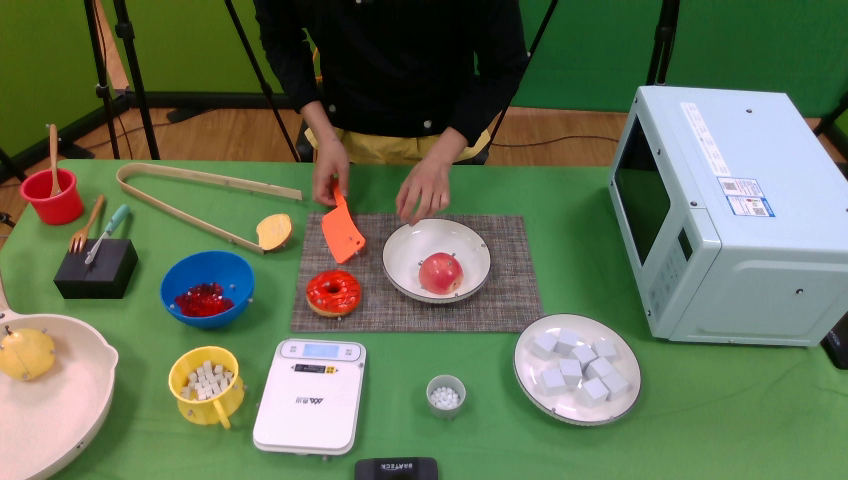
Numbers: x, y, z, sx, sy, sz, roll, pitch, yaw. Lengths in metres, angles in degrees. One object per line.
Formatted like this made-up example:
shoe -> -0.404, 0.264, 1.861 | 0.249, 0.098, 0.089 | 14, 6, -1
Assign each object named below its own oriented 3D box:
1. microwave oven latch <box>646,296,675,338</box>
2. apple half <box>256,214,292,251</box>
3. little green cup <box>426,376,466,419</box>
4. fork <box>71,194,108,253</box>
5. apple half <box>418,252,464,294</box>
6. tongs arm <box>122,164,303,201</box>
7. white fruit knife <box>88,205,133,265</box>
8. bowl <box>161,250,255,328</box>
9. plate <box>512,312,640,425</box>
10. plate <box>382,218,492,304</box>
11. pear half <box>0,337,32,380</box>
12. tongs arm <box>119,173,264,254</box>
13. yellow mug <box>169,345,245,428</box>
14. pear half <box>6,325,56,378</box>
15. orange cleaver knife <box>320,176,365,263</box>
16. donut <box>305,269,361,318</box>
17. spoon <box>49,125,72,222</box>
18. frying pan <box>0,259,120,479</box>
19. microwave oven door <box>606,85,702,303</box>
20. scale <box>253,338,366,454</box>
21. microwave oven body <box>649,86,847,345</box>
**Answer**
microwave oven latch -> 0.412, 0.134, 1.061 | 0.030, 0.029, 0.078 | 4, 45, 1
apple half -> -0.285, -0.011, 1.176 | 0.081, 0.033, 0.081 | -10, 60, 18
little green cup -> 0.033, 0.248, 0.950 | 0.061, 0.039, 0.061 | 2, 46, -2
fork -> -0.634, -0.036, 1.158 | 0.028, 0.019, 0.206 | -8, 32, -8
apple half -> 0.033, 0.055, 1.109 | 0.081, 0.053, 0.074 | -29, 57, -27
tongs arm -> -0.444, -0.114, 1.267 | 0.384, 0.026, 0.050 | 12, 50, 8
white fruit knife -> -0.584, -0.013, 1.129 | 0.016, 0.027, 0.206 | 0, 32, -5
bowl -> -0.362, 0.098, 1.039 | 0.151, 0.077, 0.150 | 2, 45, -2
plate -> 0.246, 0.213, 0.999 | 0.208, 0.039, 0.206 | 2, 46, -2
plate -> 0.024, 0.042, 1.143 | 0.209, 0.038, 0.208 | 2, 46, -2
pear half -> -0.631, 0.184, 0.921 | 0.070, 0.088, 0.031 | 29, 49, 19
tongs arm -> -0.474, -0.054, 1.212 | 0.386, 0.028, 0.028 | 23, 56, 18
yellow mug -> -0.322, 0.230, 0.922 | 0.100, 0.064, 0.130 | -24, 53, -25
pear half -> -0.608, 0.158, 0.935 | 0.076, 0.110, 0.056 | 31, 51, 20
orange cleaver knife -> -0.172, -0.043, 1.207 | 0.077, 0.012, 0.210 | -28, 53, 7
donut -> -0.160, 0.094, 1.075 | 0.099, 0.048, 0.098 | 4, 45, -3
spoon -> -0.718, -0.131, 1.189 | 0.041, 0.021, 0.193 | -4, 90, -7
frying pan -> -0.647, 0.164, 0.936 | 0.307, 0.103, 0.485 | -19, 58, -22
microwave oven door -> 0.423, -0.094, 1.140 | 0.039, 0.245, 0.353 | 2, 46, -1
scale -> -0.175, 0.236, 0.951 | 0.149, 0.032, 0.199 | 4, 45, -1
microwave oven body -> 0.568, -0.053, 1.118 | 0.326, 0.261, 0.439 | 2, 45, -1
